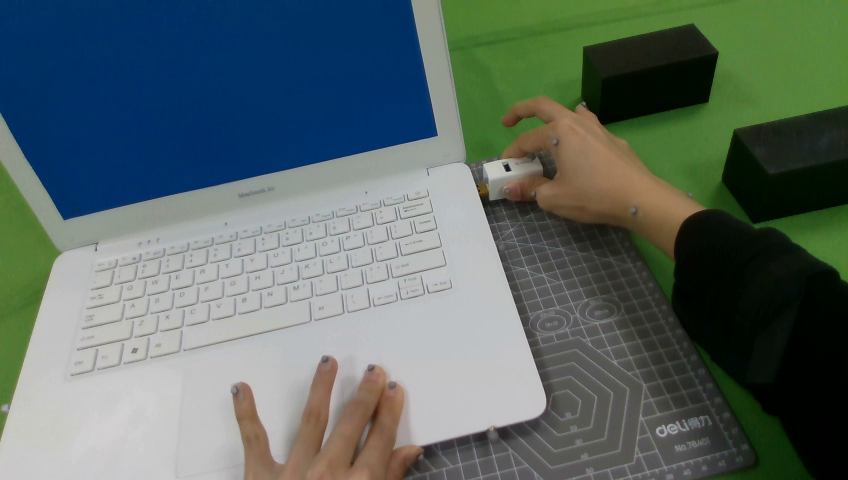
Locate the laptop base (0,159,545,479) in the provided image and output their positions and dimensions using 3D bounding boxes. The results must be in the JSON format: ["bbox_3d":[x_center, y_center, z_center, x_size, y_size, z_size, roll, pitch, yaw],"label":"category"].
[{"bbox_3d":[-0.115,0.060,0.437,0.354,0.023,0.233,-13,52,-1],"label":"laptop base"}]

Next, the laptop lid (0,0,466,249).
[{"bbox_3d":[-0.157,-0.122,0.450,0.357,0.244,0.013,-14,33,0],"label":"laptop lid"}]

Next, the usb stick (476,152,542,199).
[{"bbox_3d":[0.063,-0.050,0.485,0.059,0.027,0.021,-13,48,-4],"label":"usb stick"}]
